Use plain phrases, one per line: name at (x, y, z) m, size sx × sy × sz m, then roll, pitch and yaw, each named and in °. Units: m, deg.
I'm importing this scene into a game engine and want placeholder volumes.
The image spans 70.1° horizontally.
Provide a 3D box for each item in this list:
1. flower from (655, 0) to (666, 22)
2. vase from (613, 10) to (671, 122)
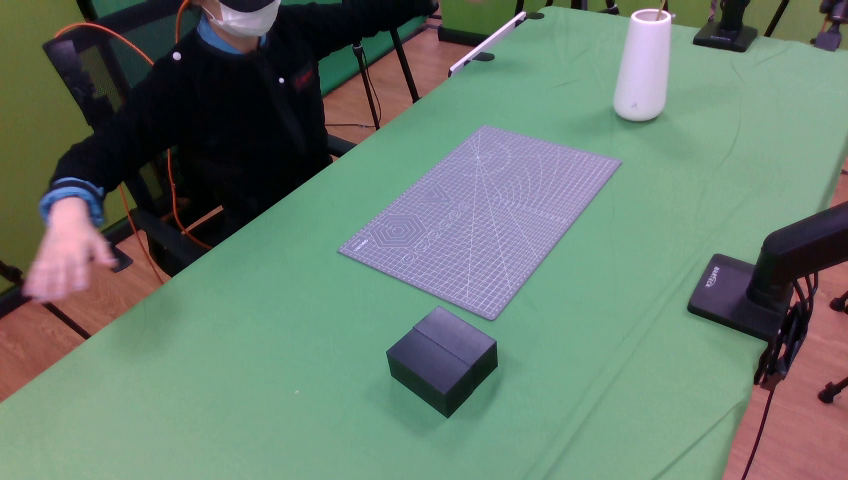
flower at (0.427, -0.398, 1.107) m, size 0.038 × 0.362 × 0.043 m, roll -3°, pitch 32°, yaw -21°
vase at (0.418, -0.326, 1.151) m, size 0.098 × 0.201 × 0.097 m, roll -4°, pitch 42°, yaw 4°
